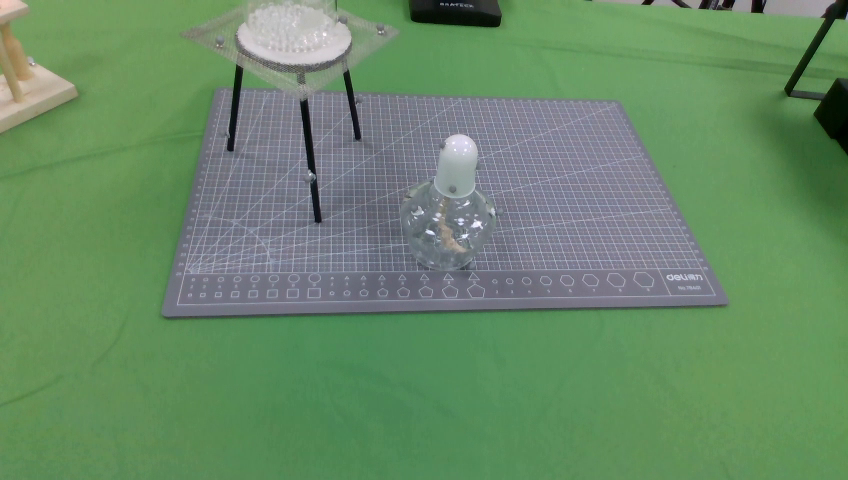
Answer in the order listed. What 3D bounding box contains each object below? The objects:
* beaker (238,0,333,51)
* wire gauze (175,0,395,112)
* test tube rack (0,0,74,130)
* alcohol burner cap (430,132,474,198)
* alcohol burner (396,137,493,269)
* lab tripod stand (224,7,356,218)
[{"bbox_3d":[-0.103,-0.196,0.437,0.073,0.101,0.084,36,54,23],"label":"beaker"},{"bbox_3d":[-0.104,-0.158,0.469,0.124,0.011,0.121,32,53,15],"label":"wire gauze"},{"bbox_3d":[-0.438,-0.120,0.511,0.066,0.086,0.241,29,50,18],"label":"test tube rack"},{"bbox_3d":[0.022,-0.057,0.447,0.034,0.048,0.033,3,51,-3],"label":"alcohol burner cap"},{"bbox_3d":[0.018,-0.034,0.474,0.078,0.120,0.077,5,46,-5],"label":"alcohol burner"},{"bbox_3d":[-0.109,-0.114,0.517,0.148,0.132,0.147,6,47,-6],"label":"lab tripod stand"}]
